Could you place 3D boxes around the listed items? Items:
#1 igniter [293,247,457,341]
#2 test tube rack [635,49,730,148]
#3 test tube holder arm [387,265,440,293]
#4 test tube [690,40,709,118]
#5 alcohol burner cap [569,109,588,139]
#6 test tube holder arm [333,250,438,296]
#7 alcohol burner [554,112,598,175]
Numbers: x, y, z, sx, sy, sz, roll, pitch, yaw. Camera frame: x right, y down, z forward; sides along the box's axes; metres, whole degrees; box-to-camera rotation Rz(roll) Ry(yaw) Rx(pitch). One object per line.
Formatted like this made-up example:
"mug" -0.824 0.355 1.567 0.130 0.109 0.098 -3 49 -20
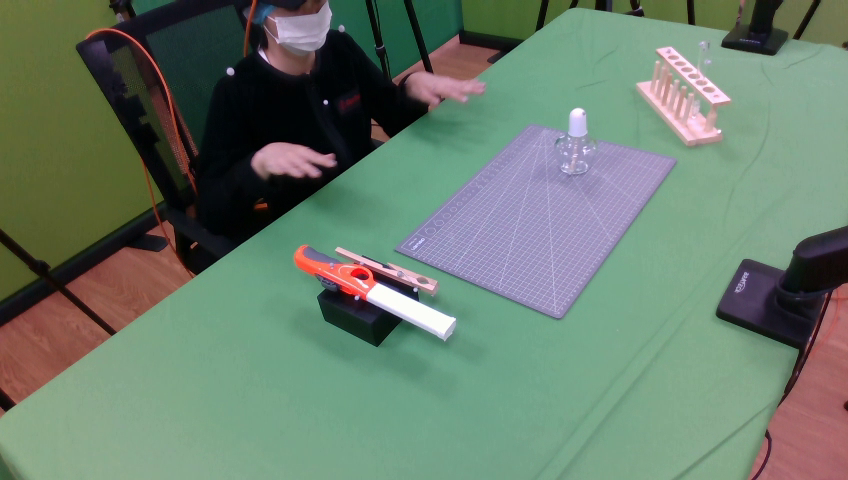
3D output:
"igniter" -0.077 0.068 0.830 0.274 0.025 0.057 22 48 27
"test tube rack" 0.497 -0.283 1.185 0.067 0.085 0.240 -10 40 -2
"test tube holder arm" -0.017 0.054 0.843 0.087 0.015 0.010 18 50 27
"test tube" 0.510 -0.295 1.120 0.017 0.151 0.017 -6 39 6
"alcohol burner cap" 0.266 -0.203 1.044 0.034 0.048 0.033 -7 36 5
"test tube holder arm" -0.059 0.045 0.859 0.177 0.015 0.013 17 49 26
"alcohol burner" 0.270 -0.175 1.066 0.078 0.119 0.077 -4 42 4
